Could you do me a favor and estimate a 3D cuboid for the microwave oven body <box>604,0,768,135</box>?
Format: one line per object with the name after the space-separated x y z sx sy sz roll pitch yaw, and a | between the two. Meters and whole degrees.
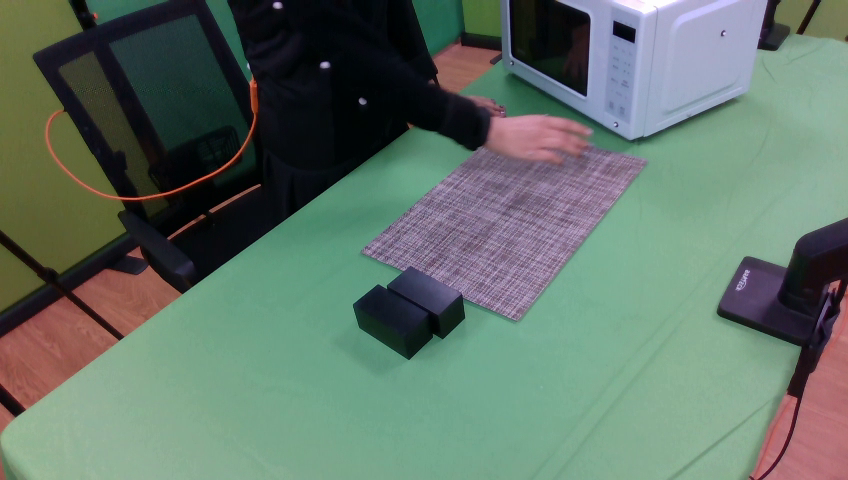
0.411 -0.441 1.235 0.327 0.261 0.437 -25 42 -16 | microwave oven body

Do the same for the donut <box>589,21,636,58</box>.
0.402 -0.429 1.295 0.099 0.048 0.098 2 54 -2 | donut

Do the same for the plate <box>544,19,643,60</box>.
0.359 -0.427 1.292 0.209 0.038 0.208 0 35 0 | plate

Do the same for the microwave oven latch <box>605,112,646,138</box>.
0.375 -0.217 1.130 0.030 0.029 0.078 -24 42 -16 | microwave oven latch

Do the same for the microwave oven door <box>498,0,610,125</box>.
0.261 -0.410 1.219 0.039 0.245 0.352 -24 42 -17 | microwave oven door
